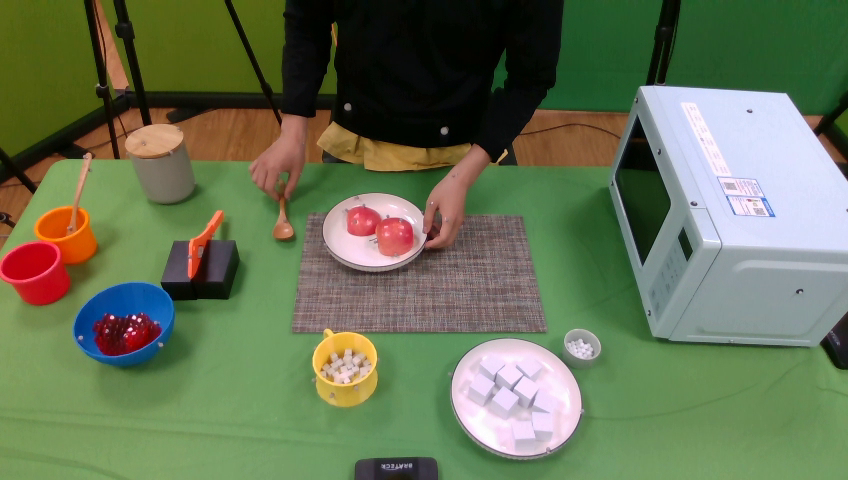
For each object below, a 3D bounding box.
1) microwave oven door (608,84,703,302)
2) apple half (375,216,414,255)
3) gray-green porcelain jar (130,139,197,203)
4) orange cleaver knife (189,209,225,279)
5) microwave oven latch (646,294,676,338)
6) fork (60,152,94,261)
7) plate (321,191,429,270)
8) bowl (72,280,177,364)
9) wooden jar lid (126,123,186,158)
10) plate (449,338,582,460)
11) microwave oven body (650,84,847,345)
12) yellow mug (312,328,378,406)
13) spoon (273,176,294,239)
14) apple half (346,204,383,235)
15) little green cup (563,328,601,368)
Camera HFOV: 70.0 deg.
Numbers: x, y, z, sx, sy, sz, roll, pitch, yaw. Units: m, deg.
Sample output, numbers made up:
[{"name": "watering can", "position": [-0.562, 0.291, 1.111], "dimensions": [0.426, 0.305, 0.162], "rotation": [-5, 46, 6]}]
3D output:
[{"name": "microwave oven door", "position": [0.424, -0.096, 1.138], "dimensions": [0.039, 0.245, 0.353], "rotation": [2, 47, -1]}, {"name": "apple half", "position": [-0.056, -0.017, 1.169], "dimensions": [0.075, 0.053, 0.080], "rotation": [0, 46, -7]}, {"name": "gray-green porcelain jar", "position": [-0.522, -0.148, 1.225], "dimensions": [0.106, 0.127, 0.105], "rotation": [2, 47, -2]}, {"name": "orange cleaver knife", "position": [-0.401, 0.002, 1.122], "dimensions": [0.012, 0.077, 0.210], "rotation": [4, 23, -4]}, {"name": "microwave oven latch", "position": [0.413, 0.133, 1.061], "dimensions": [0.030, 0.029, 0.078], "rotation": [4, 46, 1]}, {"name": "fork", "position": [-0.638, -0.063, 1.119], "dimensions": [0.028, 0.018, 0.207], "rotation": [12, 90, 8]}, {"name": "plate", "position": [-0.094, -0.015, 1.185], "dimensions": [0.209, 0.038, 0.208], "rotation": [2, 46, -2]}, {"name": "bowl", "position": [-0.473, 0.147, 0.982], "dimensions": [0.151, 0.077, 0.150], "rotation": [2, 46, -2]}, {"name": "wooden jar lid", "position": [-0.519, -0.190, 1.179], "dimensions": [0.108, 0.021, 0.107], "rotation": [2, 44, -2]}, {"name": "plate", "position": [0.141, 0.251, 0.956], "dimensions": [0.208, 0.039, 0.206], "rotation": [2, 46, -2]}, {"name": "microwave oven body", "position": [0.569, -0.054, 1.116], "dimensions": [0.326, 0.261, 0.439], "rotation": [2, 46, -1]}, {"name": "yellow mug", "position": [-0.132, 0.193, 0.971], "dimensions": [0.100, 0.064, 0.130], "rotation": [-22, 51, -22]}, {"name": "spoon", "position": [-0.288, -0.069, 1.237], "dimensions": [0.041, 0.022, 0.192], "rotation": [-11, 50, -3]}, {"name": "apple half", "position": [-0.119, -0.049, 1.207], "dimensions": [0.081, 0.033, 0.081], "rotation": [2, 50, -3]}, {"name": "little green cup", "position": [0.265, 0.184, 1.025], "dimensions": [0.061, 0.039, 0.061], "rotation": [1, 46, -1]}]
